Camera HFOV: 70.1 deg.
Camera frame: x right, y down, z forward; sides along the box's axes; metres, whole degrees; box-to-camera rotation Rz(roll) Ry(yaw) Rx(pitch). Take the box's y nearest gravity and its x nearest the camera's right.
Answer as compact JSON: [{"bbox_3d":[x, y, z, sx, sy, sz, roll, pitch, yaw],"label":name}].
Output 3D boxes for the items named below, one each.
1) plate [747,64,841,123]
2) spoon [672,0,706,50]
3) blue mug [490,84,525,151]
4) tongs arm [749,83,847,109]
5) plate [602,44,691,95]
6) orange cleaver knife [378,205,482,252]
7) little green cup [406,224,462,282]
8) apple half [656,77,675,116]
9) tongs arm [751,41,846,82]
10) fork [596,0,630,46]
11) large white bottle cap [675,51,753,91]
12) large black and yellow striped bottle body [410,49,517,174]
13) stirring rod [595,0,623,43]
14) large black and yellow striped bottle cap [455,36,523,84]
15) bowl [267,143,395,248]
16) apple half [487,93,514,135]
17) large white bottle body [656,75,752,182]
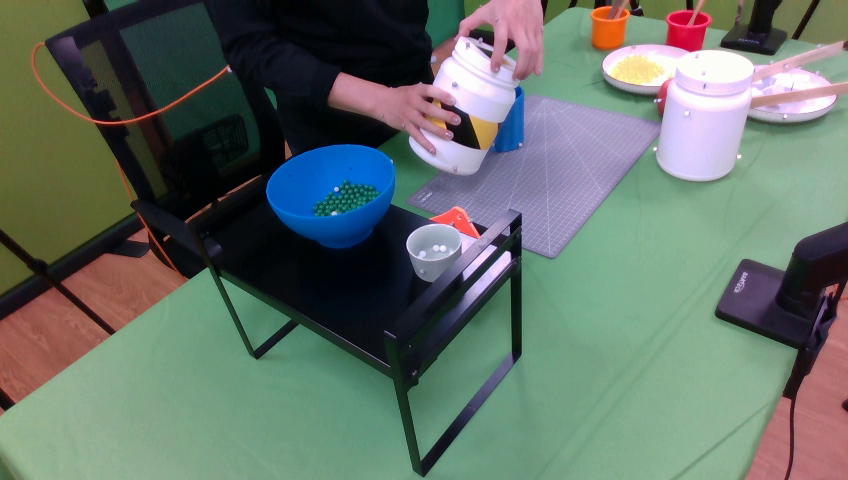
[{"bbox_3d":[0.695,-0.283,1.189,0.207,0.039,0.206,-4,40,4],"label":"plate"},{"bbox_3d":[0.629,-0.520,1.394,0.041,0.022,0.193,30,97,35],"label":"spoon"},{"bbox_3d":[0.138,-0.240,1.169,0.116,0.106,0.082,10,44,21],"label":"blue mug"},{"bbox_3d":[0.734,-0.281,1.133,0.388,0.028,0.028,-9,46,-5],"label":"tongs arm"},{"bbox_3d":[0.495,-0.367,1.317,0.209,0.038,0.208,-4,40,4],"label":"plate"},{"bbox_3d":[0.005,-0.010,0.944,0.210,0.077,0.012,-4,23,47],"label":"orange cleaver knife"},{"bbox_3d":[0.012,0.015,0.668,0.061,0.039,0.061,-4,40,4],"label":"little green cup"},{"bbox_3d":[0.488,-0.281,1.192,0.053,0.075,0.081,25,54,37],"label":"apple half"},{"bbox_3d":[0.708,-0.331,1.194,0.386,0.026,0.050,-18,45,-16],"label":"tongs arm"},{"bbox_3d":[0.481,-0.556,1.452,0.028,0.019,0.207,40,103,40],"label":"fork"},{"bbox_3d":[0.463,-0.271,0.967,0.115,0.018,0.114,-4,40,3],"label":"large white bottle cap"},{"bbox_3d":[0.068,-0.215,0.985,0.131,0.184,0.130,21,30,-12],"label":"large black and yellow striped bottle body"},{"bbox_3d":[0.460,-0.556,1.459,0.014,0.006,0.176,30,93,23],"label":"stirring rod"},{"bbox_3d":[0.103,-0.282,0.944,0.115,0.019,0.114,23,30,-14],"label":"large black and yellow striped bottle cap"},{"bbox_3d":[-0.104,-0.043,0.726,0.151,0.077,0.150,-4,40,4],"label":"bowl"},{"bbox_3d":[0.141,-0.238,1.158,0.033,0.081,0.080,-12,40,-15],"label":"apple half"},{"bbox_3d":[0.472,-0.207,1.022,0.130,0.185,0.130,-4,41,4],"label":"large white bottle body"}]
